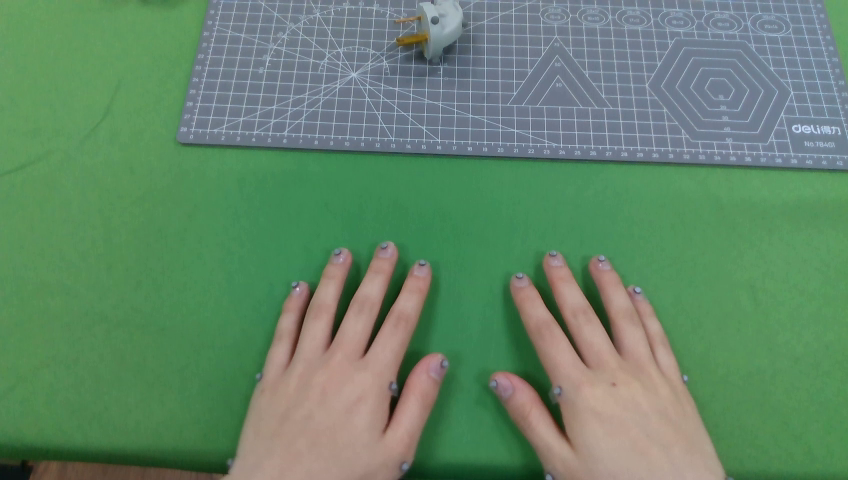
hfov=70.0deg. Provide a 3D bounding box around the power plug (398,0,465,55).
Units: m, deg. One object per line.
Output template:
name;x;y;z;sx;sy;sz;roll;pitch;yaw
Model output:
power plug;0.006;-0.147;0.385;0.035;0.072;0.053;-1;99;9
